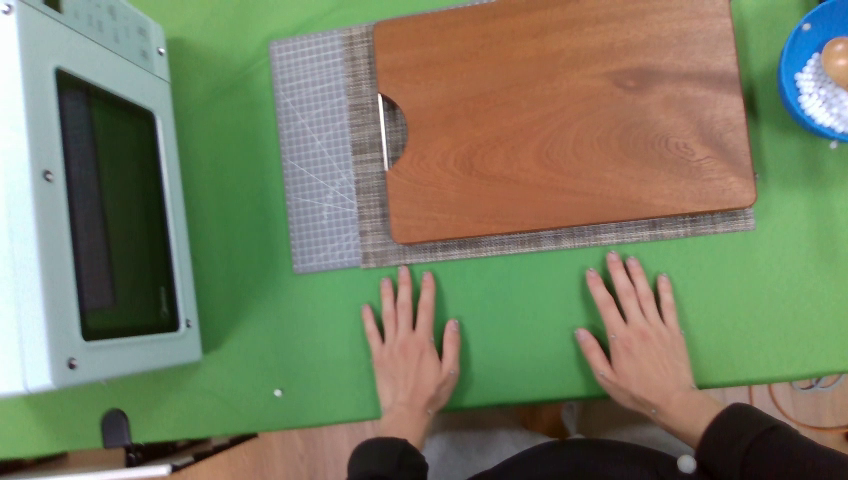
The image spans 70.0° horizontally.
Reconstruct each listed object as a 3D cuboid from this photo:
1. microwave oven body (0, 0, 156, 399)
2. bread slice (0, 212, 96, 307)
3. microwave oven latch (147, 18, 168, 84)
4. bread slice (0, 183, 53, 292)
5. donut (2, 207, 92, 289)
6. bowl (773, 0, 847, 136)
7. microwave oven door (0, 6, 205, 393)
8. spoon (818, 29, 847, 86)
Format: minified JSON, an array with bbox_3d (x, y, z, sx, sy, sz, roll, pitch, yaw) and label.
[{"bbox_3d":[-0.485,-0.048,0.690,0.325,0.261,0.440,-10,85,9],"label":"microwave oven body"},{"bbox_3d":[-0.471,0.020,0.738,0.131,0.019,0.105,10,91,7],"label":"bread slice"},{"bbox_3d":[-0.350,-0.239,0.774,0.030,0.029,0.079,-10,85,9],"label":"microwave oven latch"},{"bbox_3d":[-0.464,0.008,0.668,0.134,0.018,0.106,-16,85,22],"label":"bread slice"},{"bbox_3d":[-0.442,0.009,0.711,0.099,0.048,0.099,0,100,-1],"label":"donut"},{"bbox_3d":[0.430,-0.173,0.621,0.151,0.077,0.151,-1,87,11],"label":"bowl"},{"bbox_3d":[-0.338,-0.032,0.656,0.039,0.244,0.355,-10,84,10],"label":"microwave oven door"},{"bbox_3d":[0.432,-0.128,0.587,0.041,0.022,0.192,-8,62,7],"label":"spoon"}]
